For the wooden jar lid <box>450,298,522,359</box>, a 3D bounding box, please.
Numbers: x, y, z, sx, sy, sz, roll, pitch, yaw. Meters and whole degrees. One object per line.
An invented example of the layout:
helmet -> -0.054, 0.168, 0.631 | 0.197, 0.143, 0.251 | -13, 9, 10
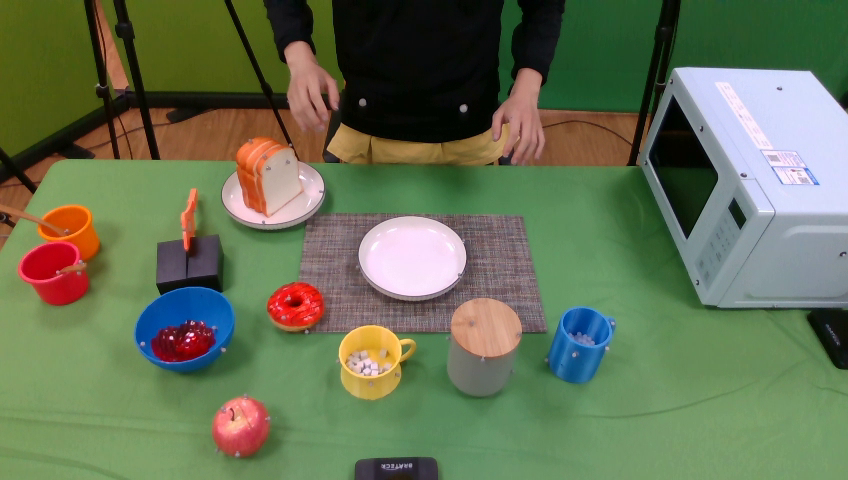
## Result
wooden jar lid -> 0.093, 0.135, 0.914 | 0.108, 0.021, 0.107 | 2, 48, -3

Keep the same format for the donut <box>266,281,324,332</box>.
donut -> -0.222, 0.114, 1.049 | 0.099, 0.048, 0.098 | 2, 45, -2

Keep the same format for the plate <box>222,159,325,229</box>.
plate -> -0.308, -0.095, 1.251 | 0.209, 0.038, 0.208 | 2, 46, -2

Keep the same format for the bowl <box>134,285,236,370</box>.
bowl -> -0.377, 0.155, 0.981 | 0.151, 0.077, 0.150 | 2, 46, -2

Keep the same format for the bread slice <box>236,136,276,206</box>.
bread slice -> -0.331, -0.147, 1.225 | 0.019, 0.132, 0.105 | 25, 48, 26

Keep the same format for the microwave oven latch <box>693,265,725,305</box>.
microwave oven latch -> 0.523, 0.082, 1.116 | 0.030, 0.029, 0.078 | 2, 46, -1

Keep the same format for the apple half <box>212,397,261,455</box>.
apple half -> -0.276, 0.276, 0.877 | 0.053, 0.075, 0.080 | -29, 58, -21

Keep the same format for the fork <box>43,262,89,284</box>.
fork -> -0.599, 0.053, 1.013 | 0.207, 0.019, 0.028 | -14, 30, 45

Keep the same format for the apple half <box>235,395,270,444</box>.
apple half -> -0.245, 0.259, 0.893 | 0.033, 0.082, 0.081 | -29, 55, -22

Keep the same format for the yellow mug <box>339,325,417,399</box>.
yellow mug -> -0.072, 0.190, 0.978 | 0.131, 0.064, 0.099 | -17, 50, -20

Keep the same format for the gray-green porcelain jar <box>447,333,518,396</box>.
gray-green porcelain jar -> 0.091, 0.178, 0.960 | 0.106, 0.127, 0.105 | 2, 46, -2

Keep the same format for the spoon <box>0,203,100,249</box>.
spoon -> -0.683, -0.031, 1.088 | 0.195, 0.021, 0.041 | 33, 33, -38

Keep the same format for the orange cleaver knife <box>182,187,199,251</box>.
orange cleaver knife -> -0.445, -0.045, 1.163 | 0.012, 0.077, 0.210 | -5, 24, -13

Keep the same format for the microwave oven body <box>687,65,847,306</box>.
microwave oven body -> 0.669, -0.111, 1.176 | 0.326, 0.261, 0.439 | 0, 46, -3

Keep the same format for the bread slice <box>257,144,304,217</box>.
bread slice -> -0.290, -0.124, 1.205 | 0.018, 0.135, 0.107 | 25, 53, 23

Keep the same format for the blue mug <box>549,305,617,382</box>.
blue mug -> 0.269, 0.165, 0.998 | 0.116, 0.106, 0.082 | -19, 51, -21

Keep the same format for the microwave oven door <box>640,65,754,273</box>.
microwave oven door -> 0.523, -0.147, 1.193 | 0.039, 0.245, 0.353 | 0, 47, -3

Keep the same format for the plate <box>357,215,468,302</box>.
plate -> -0.022, 0.037, 1.141 | 0.208, 0.039, 0.206 | 2, 46, -2
